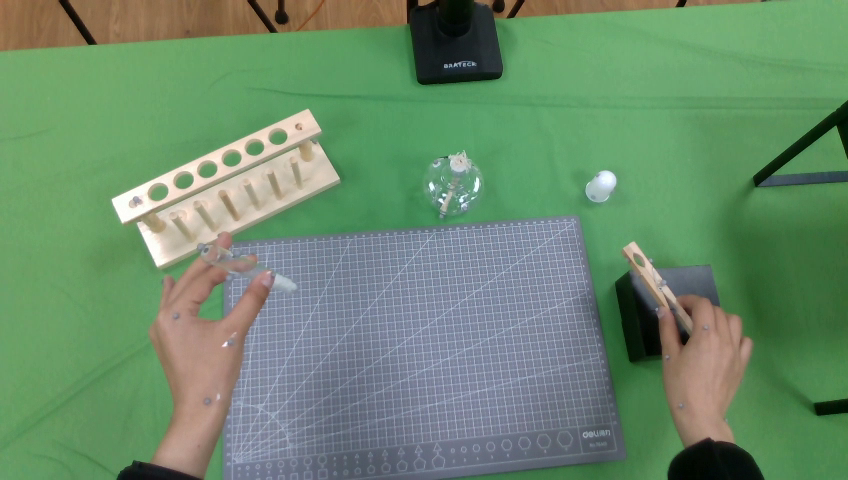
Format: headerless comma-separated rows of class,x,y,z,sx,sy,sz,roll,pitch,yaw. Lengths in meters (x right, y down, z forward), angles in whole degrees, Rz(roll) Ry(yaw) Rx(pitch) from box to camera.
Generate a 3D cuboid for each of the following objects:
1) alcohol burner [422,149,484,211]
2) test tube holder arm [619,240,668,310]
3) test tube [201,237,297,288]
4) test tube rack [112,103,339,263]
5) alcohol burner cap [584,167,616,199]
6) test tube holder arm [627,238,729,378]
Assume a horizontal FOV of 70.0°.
alcohol burner,0.037,-0.081,0.734,0.078,0.119,0.077,1,72,-3
test tube holder arm,0.248,0.040,0.679,0.010,0.015,0.087,-32,76,0
test tube,-0.146,0.023,0.526,0.017,0.151,0.017,-3,75,12
test tube rack,-0.228,-0.068,0.727,0.242,0.085,0.066,-28,74,-12
alcohol burner cap,0.229,-0.075,0.781,0.034,0.048,0.033,1,71,-2
test tube holder arm,0.277,0.073,0.669,0.013,0.015,0.177,-33,76,0
